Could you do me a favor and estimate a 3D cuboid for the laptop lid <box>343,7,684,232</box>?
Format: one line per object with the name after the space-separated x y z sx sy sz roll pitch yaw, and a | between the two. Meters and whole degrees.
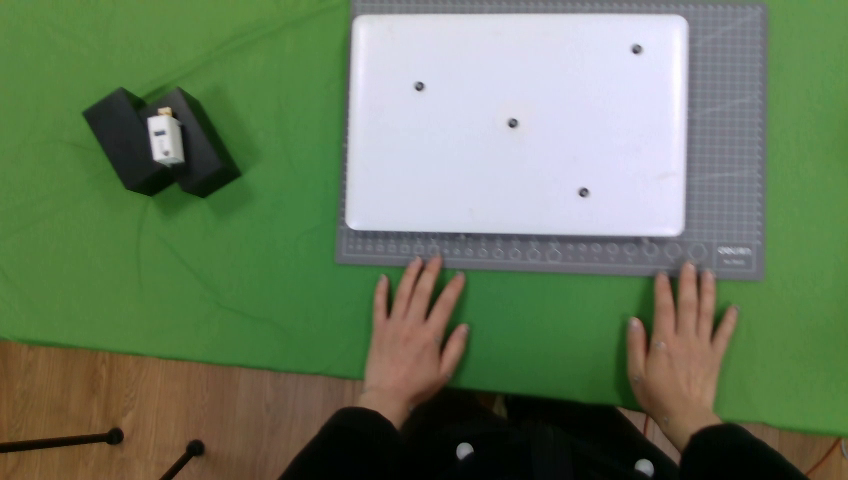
0.091 -0.127 0.635 0.356 0.013 0.241 3 89 4 | laptop lid

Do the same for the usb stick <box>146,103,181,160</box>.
-0.265 -0.113 0.615 0.021 0.027 0.059 -10 83 4 | usb stick

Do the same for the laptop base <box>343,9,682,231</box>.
0.091 -0.129 0.647 0.354 0.023 0.235 1 90 4 | laptop base
